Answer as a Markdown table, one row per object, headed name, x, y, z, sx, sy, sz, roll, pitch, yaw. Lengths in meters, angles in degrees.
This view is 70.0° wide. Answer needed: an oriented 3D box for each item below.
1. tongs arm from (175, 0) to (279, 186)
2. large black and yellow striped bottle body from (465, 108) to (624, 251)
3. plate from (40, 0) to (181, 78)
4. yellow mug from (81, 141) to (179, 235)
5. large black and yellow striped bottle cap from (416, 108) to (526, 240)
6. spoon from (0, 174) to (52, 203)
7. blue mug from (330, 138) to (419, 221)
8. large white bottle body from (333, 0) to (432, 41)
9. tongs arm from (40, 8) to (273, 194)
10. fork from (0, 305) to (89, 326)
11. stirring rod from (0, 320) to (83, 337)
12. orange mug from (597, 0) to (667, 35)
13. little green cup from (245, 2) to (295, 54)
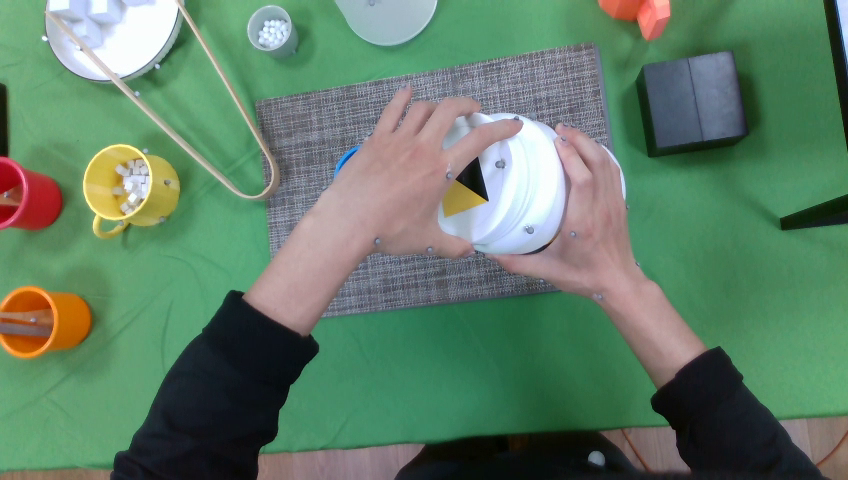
| name | x | y | z | sx | sy | sz | roll | pitch | yaw |
| --- | --- | --- | --- | --- | --- | --- | --- | --- | --- |
| tongs arm | -0.291 | -0.244 | 0.804 | 0.028 | 0.028 | 0.387 | -31 | 88 | -4 |
| large black and yellow striped bottle body | 0.096 | -0.055 | 0.590 | 0.130 | 0.185 | 0.130 | -2 | 88 | 43 |
| plate | -0.432 | -0.324 | 0.848 | 0.207 | 0.039 | 0.207 | -1 | 86 | 9 |
| yellow mug | -0.399 | -0.062 | 0.808 | 0.099 | 0.064 | 0.131 | 31 | 92 | 10 |
| large black and yellow striped bottle cap | 0.037 | -0.057 | 0.527 | 0.114 | 0.019 | 0.115 | 1 | 91 | 45 |
| spoon | -0.597 | -0.047 | 0.798 | 0.194 | 0.022 | 0.041 | -25 | 77 | -39 |
| blue mug | -0.042 | -0.065 | 0.730 | 0.116 | 0.106 | 0.082 | 18 | 88 | 10 |
| large white bottle body | -0.064 | -0.334 | 0.717 | 0.130 | 0.185 | 0.130 | -1 | 85 | 9 |
| tongs arm | -0.355 | -0.189 | 0.806 | 0.384 | 0.026 | 0.051 | 44 | 89 | 2 |
| fork | -0.548 | 0.092 | 0.776 | 0.209 | 0.018 | 0.028 | 9 | 84 | -34 |
| stirring rod | -0.538 | 0.109 | 0.776 | 0.006 | 0.177 | 0.014 | -23 | 61 | 49 |
| orange mug | 0.252 | -0.312 | 0.711 | 0.083 | 0.101 | 0.125 | -17 | 78 | 7 |
| little green cup | -0.203 | -0.280 | 0.809 | 0.061 | 0.039 | 0.061 | -1 | 86 | 8 |
